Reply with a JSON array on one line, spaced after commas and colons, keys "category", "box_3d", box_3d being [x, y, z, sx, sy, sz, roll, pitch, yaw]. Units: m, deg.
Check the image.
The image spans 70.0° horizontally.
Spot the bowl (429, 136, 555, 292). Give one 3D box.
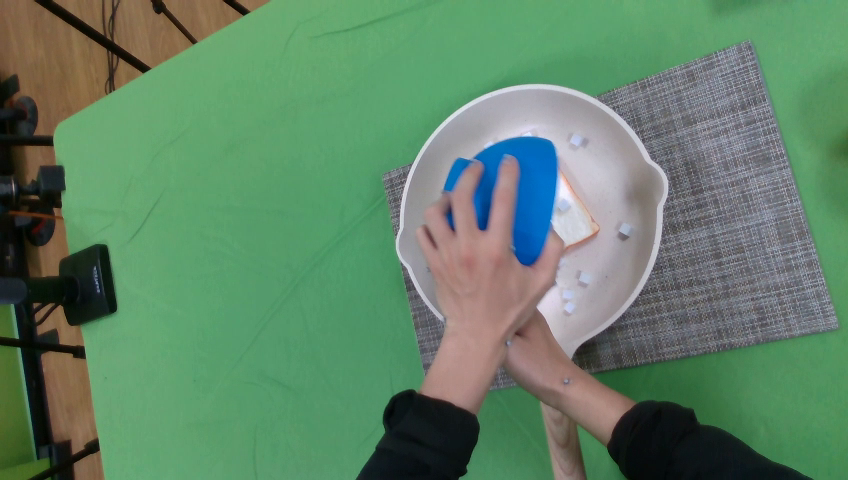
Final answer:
[{"category": "bowl", "box_3d": [0.053, -0.032, 0.567, 0.077, 0.150, 0.151, 15, 95, -11]}]

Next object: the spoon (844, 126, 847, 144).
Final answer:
[{"category": "spoon", "box_3d": [0.444, -0.111, 0.493, 0.022, 0.193, 0.041, -5, 85, -20]}]

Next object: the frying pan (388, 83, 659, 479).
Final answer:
[{"category": "frying pan", "box_3d": [0.117, 0.076, 0.655, 0.306, 0.103, 0.485, -13, 74, 25]}]

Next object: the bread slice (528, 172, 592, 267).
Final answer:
[{"category": "bread slice", "box_3d": [0.114, -0.020, 0.705, 0.134, 0.018, 0.106, -38, 74, 16]}]
